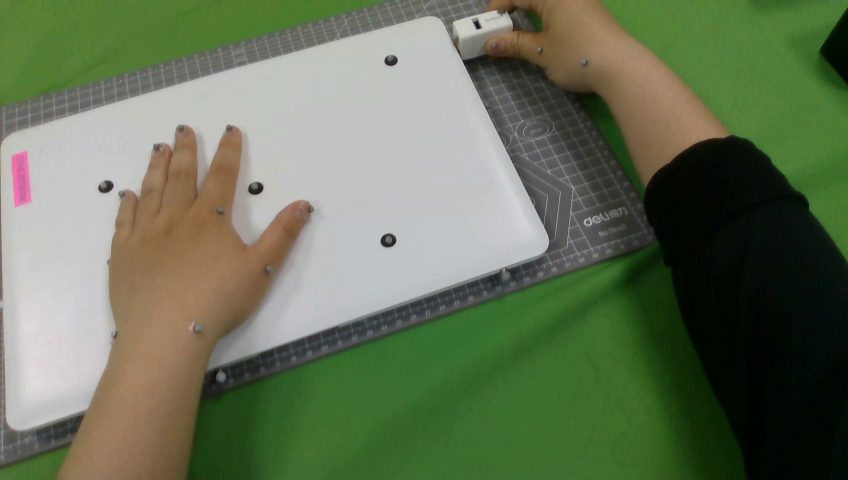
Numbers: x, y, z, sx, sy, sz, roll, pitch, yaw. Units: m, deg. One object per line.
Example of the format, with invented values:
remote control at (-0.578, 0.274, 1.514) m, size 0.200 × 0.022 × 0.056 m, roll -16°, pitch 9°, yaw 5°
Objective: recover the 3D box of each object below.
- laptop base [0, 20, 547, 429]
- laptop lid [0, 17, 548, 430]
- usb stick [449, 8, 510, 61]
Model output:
laptop base at (-0.118, -0.032, 0.438) m, size 0.355 × 0.023 × 0.233 m, roll -18°, pitch 65°, yaw -7°
laptop lid at (-0.117, -0.035, 0.428) m, size 0.357 × 0.013 × 0.239 m, roll -17°, pitch 64°, yaw -6°
usb stick at (0.038, -0.162, 0.486) m, size 0.059 × 0.027 × 0.021 m, roll -20°, pitch 57°, yaw 1°
